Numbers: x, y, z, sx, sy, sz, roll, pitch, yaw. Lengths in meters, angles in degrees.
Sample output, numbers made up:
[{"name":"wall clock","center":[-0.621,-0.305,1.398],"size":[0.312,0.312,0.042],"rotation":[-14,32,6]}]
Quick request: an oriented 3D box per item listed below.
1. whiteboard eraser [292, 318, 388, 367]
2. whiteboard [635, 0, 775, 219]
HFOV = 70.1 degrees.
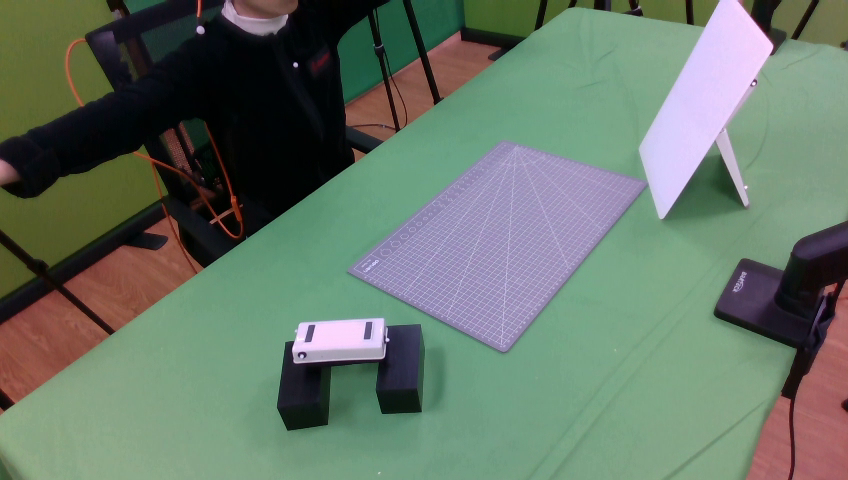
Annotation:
[{"name":"whiteboard eraser","center":[-0.103,0.128,0.748],"size":[0.113,0.042,0.055],"rotation":[-3,38,2]},{"name":"whiteboard","center":[0.486,-0.192,0.956],"size":[0.144,0.305,0.216],"rotation":[14,41,-4]}]
